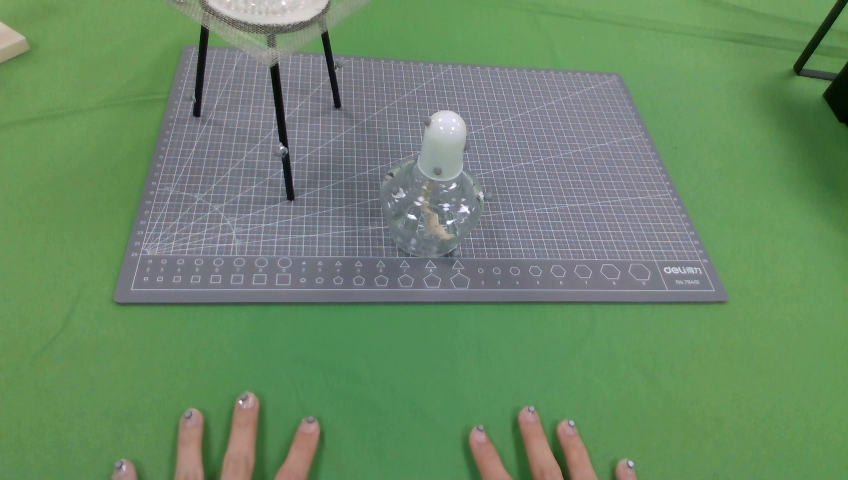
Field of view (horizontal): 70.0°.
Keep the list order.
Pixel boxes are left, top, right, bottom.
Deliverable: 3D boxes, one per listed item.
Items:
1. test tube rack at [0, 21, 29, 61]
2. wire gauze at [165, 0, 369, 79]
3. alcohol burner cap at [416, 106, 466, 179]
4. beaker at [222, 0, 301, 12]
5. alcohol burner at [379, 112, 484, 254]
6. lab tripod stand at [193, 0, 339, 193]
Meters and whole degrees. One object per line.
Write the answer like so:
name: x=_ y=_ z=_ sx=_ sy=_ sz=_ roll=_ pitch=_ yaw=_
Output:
test tube rack: x=-0.446 y=-0.146 z=0.457 sx=0.066 sy=0.086 sz=0.241 roll=31 pitch=52 yaw=15
wire gauze: x=-0.111 y=-0.172 z=0.418 sx=0.124 sy=0.011 sz=0.121 roll=34 pitch=56 yaw=12
alcohol burner cap: x=0.013 y=-0.067 z=0.405 sx=0.034 sy=0.048 sz=0.033 roll=3 pitch=55 yaw=-4
beaker: x=-0.109 y=-0.204 z=0.380 sx=0.073 sy=0.101 sz=0.084 roll=32 pitch=54 yaw=16
alcohol burner: x=0.008 y=-0.045 z=0.433 sx=0.078 sy=0.120 sz=0.077 roll=6 pitch=49 yaw=-7
lab tripod stand: x=-0.117 y=-0.131 z=0.468 sx=0.149 sy=0.132 sz=0.147 roll=6 pitch=51 yaw=-7
